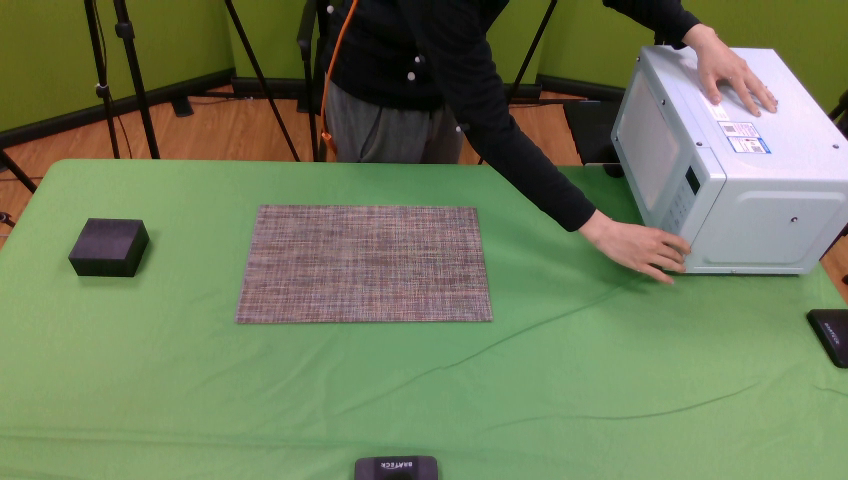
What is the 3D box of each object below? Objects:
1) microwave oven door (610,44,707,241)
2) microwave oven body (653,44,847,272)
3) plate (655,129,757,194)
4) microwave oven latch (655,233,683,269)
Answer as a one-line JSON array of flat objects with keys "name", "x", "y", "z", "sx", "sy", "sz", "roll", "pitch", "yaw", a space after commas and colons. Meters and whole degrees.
[{"name": "microwave oven door", "x": 0.474, "y": -0.208, "z": 1.250, "sx": 0.039, "sy": 0.245, "sz": 0.353, "roll": 0, "pitch": 47, "yaw": -3}, {"name": "microwave oven body", "x": 0.620, "y": -0.172, "z": 1.234, "sx": 0.326, "sy": 0.261, "sz": 0.439, "roll": 0, "pitch": 46, "yaw": -3}, {"name": "plate", "x": 0.602, "y": -0.165, "z": 1.305, "sx": 0.209, "sy": 0.038, "sz": 0.208, "roll": 2, "pitch": 45, "yaw": -2}, {"name": "microwave oven latch", "x": 0.473, "y": 0.021, "z": 1.175, "sx": 0.030, "sy": 0.029, "sz": 0.078, "roll": 2, "pitch": 46, "yaw": -1}]
